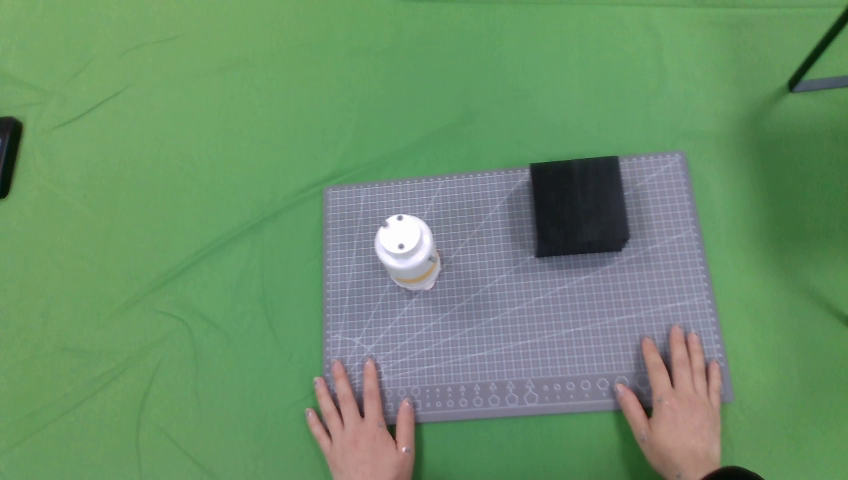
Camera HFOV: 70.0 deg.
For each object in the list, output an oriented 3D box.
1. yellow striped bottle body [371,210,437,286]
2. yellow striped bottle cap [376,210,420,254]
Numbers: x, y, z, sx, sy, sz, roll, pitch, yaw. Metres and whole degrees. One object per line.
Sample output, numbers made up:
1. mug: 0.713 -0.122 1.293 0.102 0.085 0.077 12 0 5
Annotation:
1. yellow striped bottle body: -0.022 0.008 0.674 0.063 0.121 0.062 -2 72 6
2. yellow striped bottle cap: -0.027 -0.009 0.625 0.044 0.019 0.044 -2 73 8
